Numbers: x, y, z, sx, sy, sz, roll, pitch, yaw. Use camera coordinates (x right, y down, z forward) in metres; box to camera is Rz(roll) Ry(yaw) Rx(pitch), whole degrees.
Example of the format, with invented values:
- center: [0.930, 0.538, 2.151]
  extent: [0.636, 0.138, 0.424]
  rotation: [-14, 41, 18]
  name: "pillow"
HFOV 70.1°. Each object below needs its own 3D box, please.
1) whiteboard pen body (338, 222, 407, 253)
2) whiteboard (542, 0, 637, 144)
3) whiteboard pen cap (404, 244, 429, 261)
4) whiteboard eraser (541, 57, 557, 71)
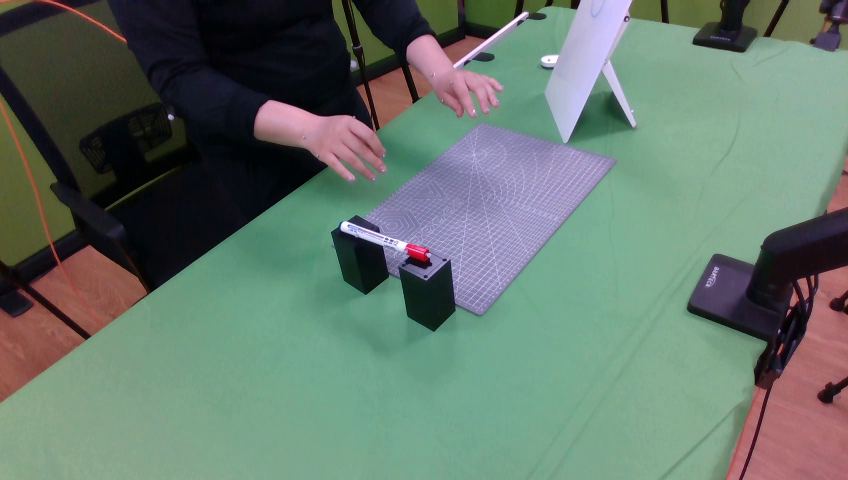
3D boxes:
- center: [-0.061, -0.001, 0.828]
  extent: [0.139, 0.017, 0.017]
  rotation: [18, 46, 28]
  name: "whiteboard pen body"
- center: [0.366, -0.351, 1.160]
  extent: [0.144, 0.305, 0.216]
  rotation: [10, 39, -10]
  name: "whiteboard"
- center: [-0.010, 0.015, 0.801]
  extent: [0.032, 0.017, 0.017]
  rotation: [17, 46, 29]
  name: "whiteboard pen cap"
- center: [0.323, -0.412, 1.407]
  extent: [0.101, 0.019, 0.041]
  rotation: [1, 42, 11]
  name: "whiteboard eraser"
